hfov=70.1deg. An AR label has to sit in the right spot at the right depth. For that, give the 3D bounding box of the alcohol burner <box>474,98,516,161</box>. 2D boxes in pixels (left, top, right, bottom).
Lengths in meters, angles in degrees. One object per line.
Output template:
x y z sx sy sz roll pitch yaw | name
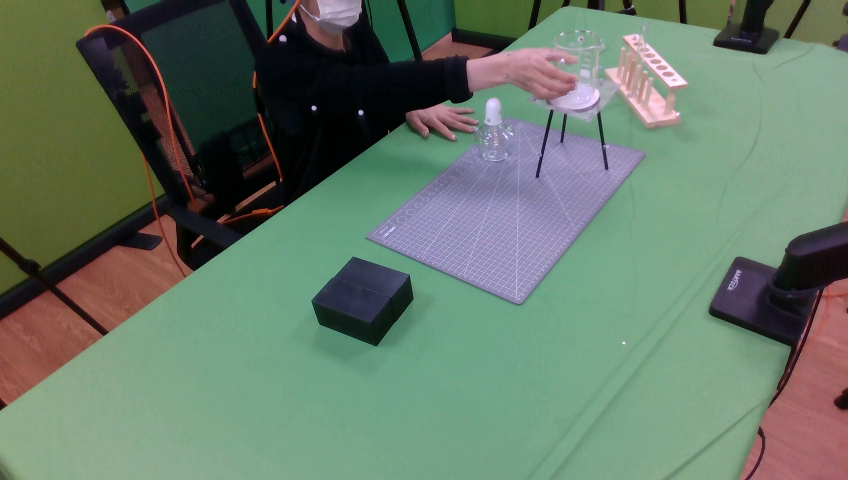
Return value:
0.131 -0.208 1.121 0.078 0.119 0.077 -6 40 5 | alcohol burner

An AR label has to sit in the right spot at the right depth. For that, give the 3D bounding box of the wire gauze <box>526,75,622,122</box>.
0.255 -0.248 1.030 0.124 0.011 0.122 24 51 33 | wire gauze

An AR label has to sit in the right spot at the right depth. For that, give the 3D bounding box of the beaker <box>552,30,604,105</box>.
0.250 -0.281 0.992 0.083 0.101 0.074 17 47 25 | beaker

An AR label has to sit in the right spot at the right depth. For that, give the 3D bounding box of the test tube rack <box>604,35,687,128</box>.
0.447 -0.330 1.241 0.067 0.085 0.241 -9 41 -2 | test tube rack

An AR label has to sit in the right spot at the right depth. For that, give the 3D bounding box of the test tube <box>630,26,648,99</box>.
0.426 -0.350 1.199 0.017 0.151 0.017 -4 42 4 | test tube

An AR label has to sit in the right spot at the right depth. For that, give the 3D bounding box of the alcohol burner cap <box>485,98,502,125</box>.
0.126 -0.234 1.097 0.034 0.048 0.033 -3 40 3 | alcohol burner cap

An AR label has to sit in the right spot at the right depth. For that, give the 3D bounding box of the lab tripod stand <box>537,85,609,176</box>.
0.259 -0.192 1.068 0.148 0.132 0.147 -4 43 4 | lab tripod stand
